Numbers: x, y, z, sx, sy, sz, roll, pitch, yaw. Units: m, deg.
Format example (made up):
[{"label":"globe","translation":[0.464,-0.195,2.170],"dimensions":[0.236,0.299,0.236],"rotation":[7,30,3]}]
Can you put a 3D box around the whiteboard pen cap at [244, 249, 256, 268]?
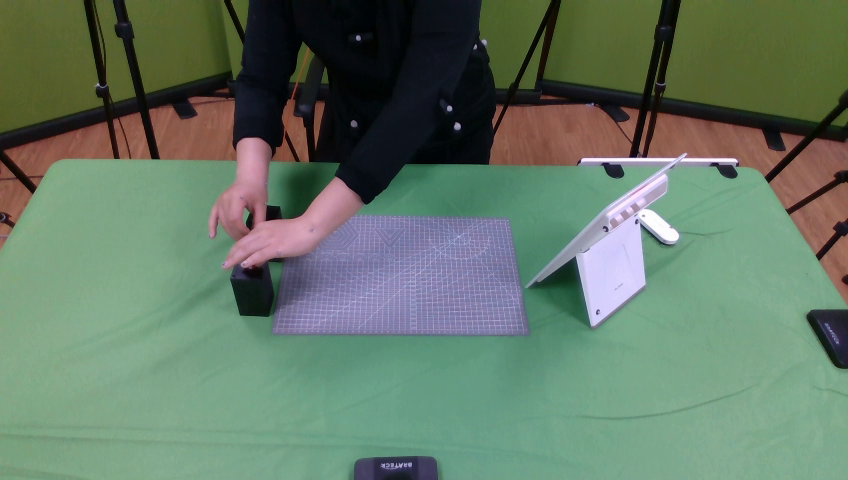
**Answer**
[{"label":"whiteboard pen cap","translation":[-0.290,0.030,1.009],"dimensions":[0.017,0.017,0.032],"rotation":[-1,45,-5]}]

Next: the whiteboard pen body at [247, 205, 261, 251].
[{"label":"whiteboard pen body","translation":[-0.295,-0.011,1.052],"dimensions":[0.017,0.017,0.139],"rotation":[-3,46,-7]}]

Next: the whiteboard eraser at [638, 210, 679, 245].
[{"label":"whiteboard eraser","translation":[0.485,-0.026,1.260],"dimensions":[0.041,0.019,0.100],"rotation":[-20,49,-22]}]

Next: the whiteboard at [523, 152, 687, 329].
[{"label":"whiteboard","translation":[0.346,0.025,1.046],"dimensions":[0.217,0.306,0.143],"rotation":[-30,74,-29]}]
